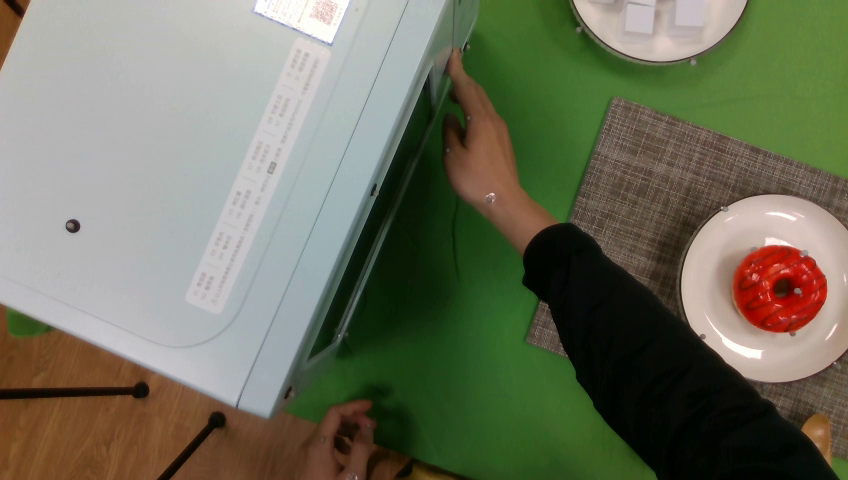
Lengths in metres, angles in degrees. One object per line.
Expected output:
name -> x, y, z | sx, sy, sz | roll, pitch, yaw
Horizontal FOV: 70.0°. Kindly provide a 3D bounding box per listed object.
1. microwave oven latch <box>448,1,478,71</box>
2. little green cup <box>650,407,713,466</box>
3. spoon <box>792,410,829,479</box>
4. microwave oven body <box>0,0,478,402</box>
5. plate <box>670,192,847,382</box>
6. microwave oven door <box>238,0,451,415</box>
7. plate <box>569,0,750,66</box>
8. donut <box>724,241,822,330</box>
microwave oven latch -> 0.033, -0.229, 0.672 | 0.030, 0.029, 0.079 | 26, 90, 1
little green cup -> 0.285, 0.217, 0.678 | 0.061, 0.038, 0.061 | 0, 87, 1
spoon -> 0.451, 0.283, 0.680 | 0.042, 0.021, 0.193 | -17, 90, -17
microwave oven body -> -0.176, -0.128, 0.578 | 0.326, 0.260, 0.441 | 23, 90, 1
plate -> 0.376, 0.051, 0.676 | 0.209, 0.038, 0.209 | 0, 89, 2
microwave oven door -> -0.060, -0.031, 0.569 | 0.039, 0.244, 0.355 | 23, 89, 2
plate -> 0.262, -0.297, 0.688 | 0.208, 0.039, 0.207 | 0, 89, 1
donut -> 0.381, 0.050, 0.665 | 0.099, 0.048, 0.099 | 0, 90, 4
